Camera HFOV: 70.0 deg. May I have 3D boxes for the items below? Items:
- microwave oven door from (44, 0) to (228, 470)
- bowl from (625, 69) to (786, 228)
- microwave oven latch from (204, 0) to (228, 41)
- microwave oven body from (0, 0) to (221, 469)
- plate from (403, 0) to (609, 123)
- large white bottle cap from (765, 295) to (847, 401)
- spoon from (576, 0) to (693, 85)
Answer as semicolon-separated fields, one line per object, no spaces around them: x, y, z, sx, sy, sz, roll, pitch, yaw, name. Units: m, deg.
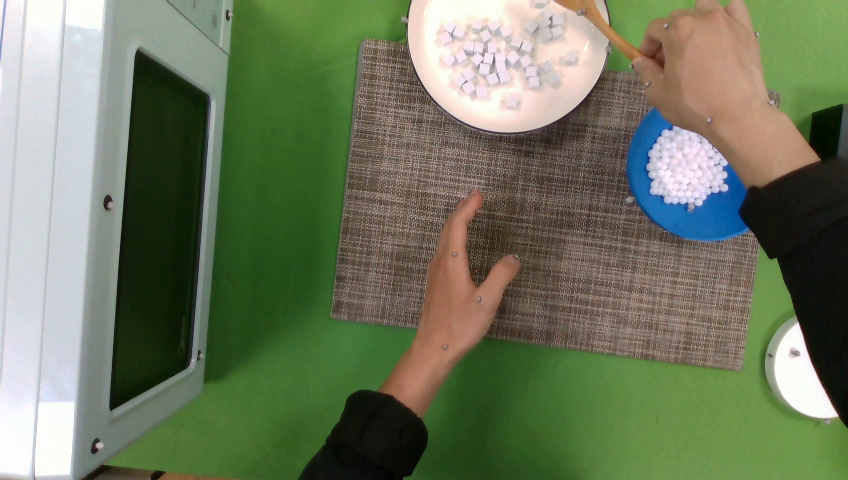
-0.233;-0.022;0.517;0.039;0.243;0.356;4;92;0;microwave oven door
0.269;-0.087;0.611;0.151;0.077;0.151;0;93;0;bowl
-0.212;-0.243;0.607;0.030;0.029;0.079;5;93;-1;microwave oven latch
-0.375;-0.076;0.518;0.326;0.260;0.442;5;93;-1;microwave oven body
0.084;-0.221;0.625;0.209;0.038;0.209;0;90;-1;plate
0.430;0.118;0.656;0.115;0.018;0.115;0;93;-1;large white bottle cap
0.174;-0.204;0.559;0.021;0.042;0.192;-27;67;-21;spoon
